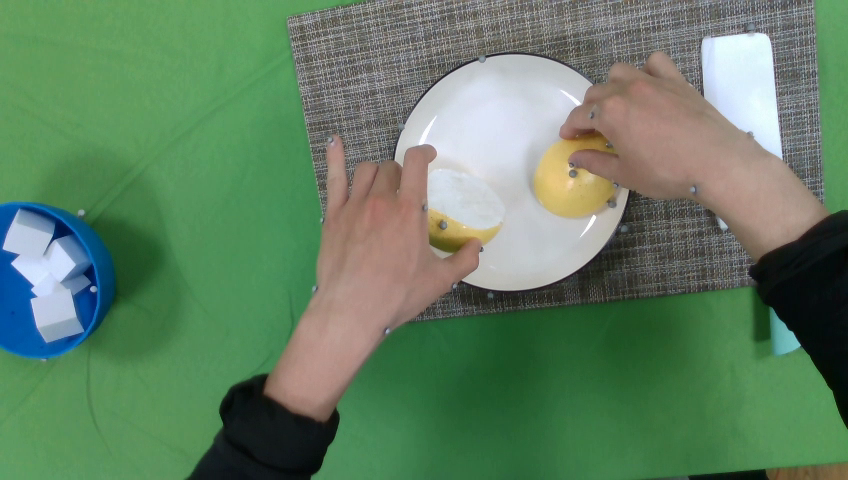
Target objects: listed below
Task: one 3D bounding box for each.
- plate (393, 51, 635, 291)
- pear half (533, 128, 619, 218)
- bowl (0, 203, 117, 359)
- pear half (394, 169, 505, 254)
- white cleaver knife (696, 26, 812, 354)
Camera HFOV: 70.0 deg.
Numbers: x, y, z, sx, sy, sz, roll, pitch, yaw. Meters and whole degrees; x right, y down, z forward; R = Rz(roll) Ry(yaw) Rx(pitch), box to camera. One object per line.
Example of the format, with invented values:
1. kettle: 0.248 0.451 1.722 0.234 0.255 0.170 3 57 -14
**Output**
1. plate: 0.078 -0.059 0.540 0.207 0.039 0.208 1 100 8
2. pear half: 0.132 -0.053 0.516 0.070 0.031 0.088 27 125 -8
3. bowl: -0.362 0.034 0.598 0.151 0.076 0.152 1 100 8
4. pear half: 0.011 -0.017 0.499 0.075 0.110 0.056 50 126 32
5. white cleaver knife: 0.286 -0.040 0.527 0.066 0.021 0.286 -10 95 14
